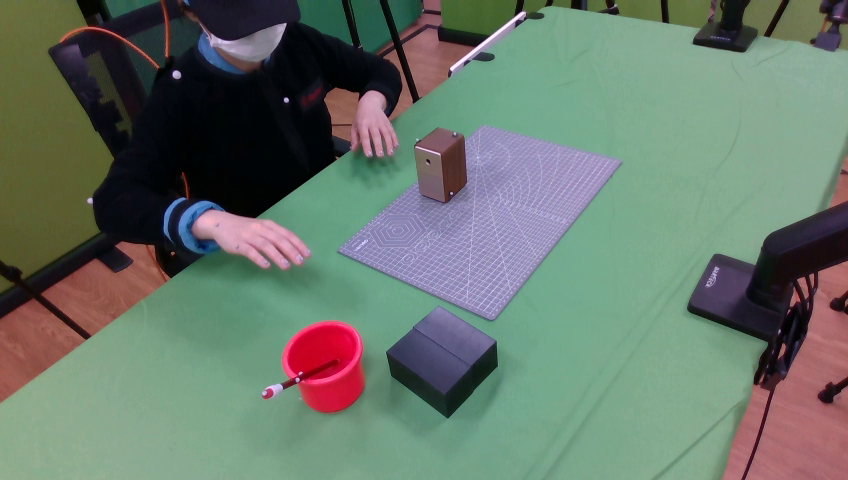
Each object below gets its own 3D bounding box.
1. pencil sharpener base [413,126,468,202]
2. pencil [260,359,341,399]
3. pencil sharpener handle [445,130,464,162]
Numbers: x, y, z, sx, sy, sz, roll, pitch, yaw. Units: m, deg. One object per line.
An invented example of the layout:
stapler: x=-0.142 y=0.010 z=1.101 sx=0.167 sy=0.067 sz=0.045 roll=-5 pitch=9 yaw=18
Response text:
pencil sharpener base: x=0.032 y=-0.132 z=1.047 sx=0.061 sy=0.107 sz=0.077 roll=22 pitch=48 yaw=30
pencil: x=-0.137 y=0.157 z=0.706 sx=0.012 sy=0.012 sz=0.195 roll=6 pitch=1 yaw=16
pencil sharpener handle: x=0.059 y=-0.171 z=1.070 sx=0.036 sy=0.068 sz=0.031 roll=26 pitch=50 yaw=25
